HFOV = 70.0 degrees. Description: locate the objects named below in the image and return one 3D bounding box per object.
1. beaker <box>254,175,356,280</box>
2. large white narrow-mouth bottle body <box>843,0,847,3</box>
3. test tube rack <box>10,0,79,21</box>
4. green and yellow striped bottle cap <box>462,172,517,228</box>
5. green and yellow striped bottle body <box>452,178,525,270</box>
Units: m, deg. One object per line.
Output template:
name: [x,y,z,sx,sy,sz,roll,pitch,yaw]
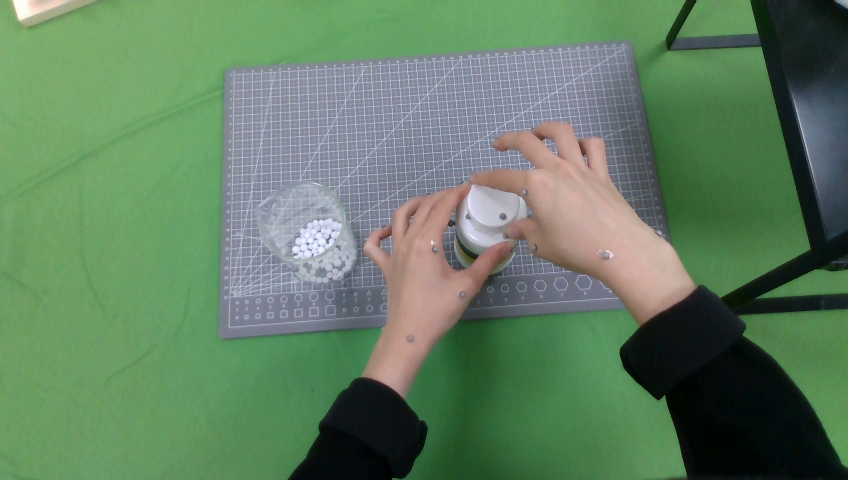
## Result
beaker: [-0.106,-0.007,0.562,0.084,0.101,0.073,15,73,6]
large white narrow-mouth bottle body: [0.353,-0.249,0.394,0.102,0.196,0.101,-1,72,3]
test tube rack: [-0.363,-0.339,0.673,0.242,0.085,0.066,-25,74,-7]
green and yellow striped bottle cap: [0.054,-0.033,0.499,0.045,0.020,0.045,0,73,0]
green and yellow striped bottle body: [0.057,-0.017,0.552,0.063,0.120,0.063,-1,73,2]
